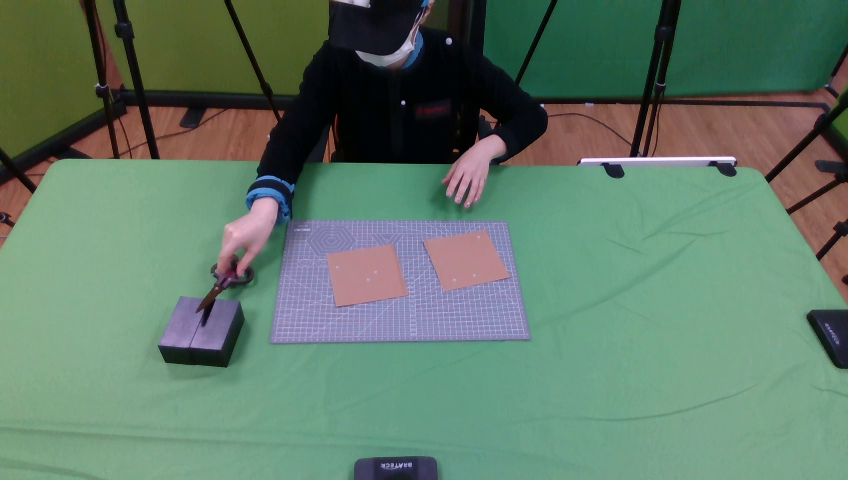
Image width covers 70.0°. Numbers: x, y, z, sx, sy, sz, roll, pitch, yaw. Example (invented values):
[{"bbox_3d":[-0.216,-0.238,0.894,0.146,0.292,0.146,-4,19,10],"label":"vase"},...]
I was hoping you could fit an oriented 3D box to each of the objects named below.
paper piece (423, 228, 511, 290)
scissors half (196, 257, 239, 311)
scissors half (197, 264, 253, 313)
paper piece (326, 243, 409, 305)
[{"bbox_3d":[0.082,0.034,1.176,0.138,0.009,0.135,-9,52,-15],"label":"paper piece"},{"bbox_3d":[-0.362,0.075,1.052,0.040,0.013,0.174,28,25,-14],"label":"scissors half"},{"bbox_3d":[-0.345,0.084,1.055,0.040,0.013,0.175,29,25,2],"label":"scissors half"},{"bbox_3d":[-0.108,0.062,1.135,0.136,0.004,0.134,-8,47,-12],"label":"paper piece"}]
